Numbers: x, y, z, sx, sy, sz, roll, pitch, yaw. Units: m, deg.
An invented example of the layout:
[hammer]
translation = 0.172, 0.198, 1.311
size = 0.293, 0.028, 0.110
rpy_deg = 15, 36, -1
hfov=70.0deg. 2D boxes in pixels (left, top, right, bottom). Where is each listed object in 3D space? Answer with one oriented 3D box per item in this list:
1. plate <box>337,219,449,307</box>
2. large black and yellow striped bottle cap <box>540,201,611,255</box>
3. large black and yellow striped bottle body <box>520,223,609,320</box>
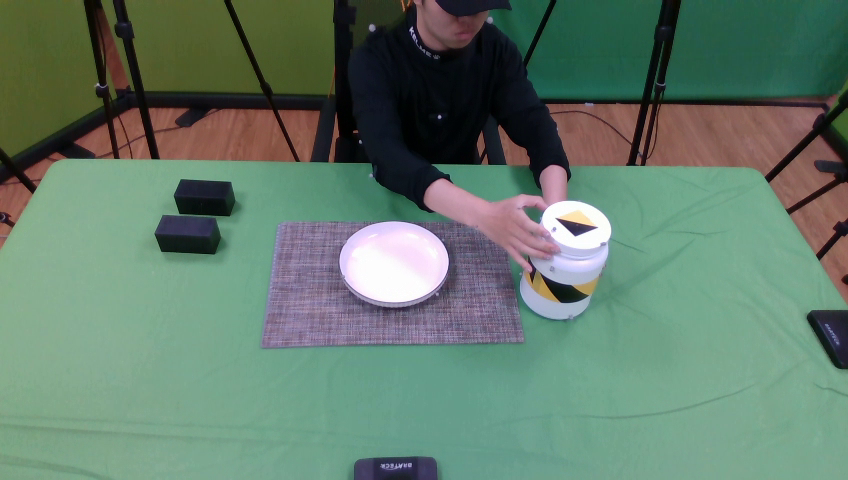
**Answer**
[plate]
translation = -0.057, 0.045, 1.132
size = 0.208, 0.039, 0.206
rpy_deg = 2, 46, -2
[large black and yellow striped bottle cap]
translation = 0.250, -0.022, 1.003
size = 0.115, 0.019, 0.114
rpy_deg = 3, 45, -3
[large black and yellow striped bottle body]
translation = 0.247, 0.038, 1.065
size = 0.131, 0.185, 0.130
rpy_deg = 2, 46, -2
